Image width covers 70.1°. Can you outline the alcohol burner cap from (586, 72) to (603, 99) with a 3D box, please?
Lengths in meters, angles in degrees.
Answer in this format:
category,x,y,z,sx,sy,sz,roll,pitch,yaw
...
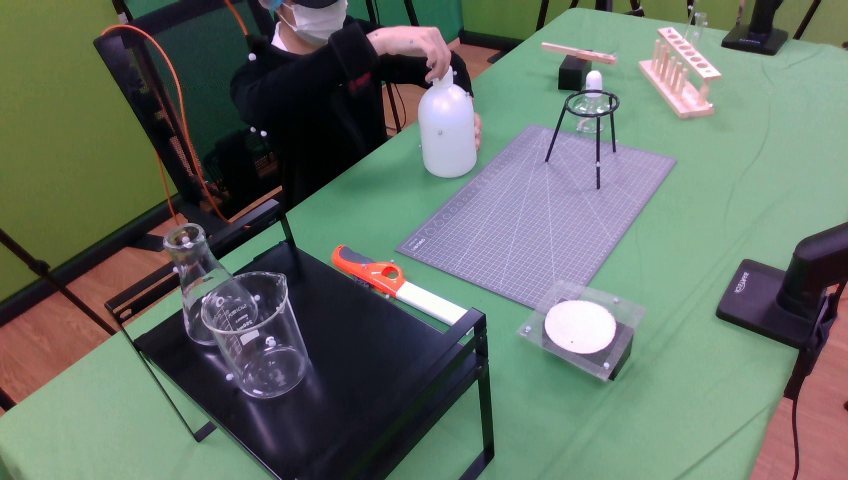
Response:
category,x,y,z,sx,sy,sz,roll,pitch,yaw
alcohol burner cap,0.325,-0.297,1.154,0.034,0.048,0.033,-8,35,6

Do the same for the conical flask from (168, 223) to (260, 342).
category,x,y,z,sx,sy,sz,roll,pitch,yaw
conical flask,-0.219,0.040,0.614,0.075,0.122,0.075,-5,40,4

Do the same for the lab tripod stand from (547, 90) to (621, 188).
category,x,y,z,sx,sy,sz,roll,pitch,yaw
lab tripod stand,0.289,-0.184,1.062,0.148,0.132,0.147,-6,41,6

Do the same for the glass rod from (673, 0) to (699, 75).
category,x,y,z,sx,sy,sz,roll,pitch,yaw
glass rod,0.541,-0.427,1.246,0.008,0.200,0.008,0,48,1

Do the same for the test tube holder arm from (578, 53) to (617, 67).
category,x,y,z,sx,sy,sz,roll,pitch,yaw
test tube holder arm,0.376,-0.393,1.314,0.087,0.015,0.010,26,51,32

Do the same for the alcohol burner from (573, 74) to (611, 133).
category,x,y,z,sx,sy,sz,roll,pitch,yaw
alcohol burner,0.330,-0.270,1.176,0.078,0.119,0.077,-4,43,4

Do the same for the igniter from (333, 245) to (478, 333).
category,x,y,z,sx,sy,sz,roll,pitch,yaw
igniter,-0.038,0.068,0.905,0.274,0.025,0.057,24,60,32

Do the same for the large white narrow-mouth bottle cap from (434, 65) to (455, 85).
category,x,y,z,sx,sy,sz,roll,pitch,yaw
large white narrow-mouth bottle cap,0.035,-0.284,1.041,0.038,0.024,0.037,-4,40,4

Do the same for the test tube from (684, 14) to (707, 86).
category,x,y,z,sx,sy,sz,roll,pitch,yaw
test tube,0.541,-0.379,1.216,0.017,0.151,0.017,-2,44,2

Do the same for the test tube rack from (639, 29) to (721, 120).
category,x,y,z,sx,sy,sz,roll,pitch,yaw
test tube rack,0.527,-0.351,1.262,0.067,0.085,0.241,-8,40,1

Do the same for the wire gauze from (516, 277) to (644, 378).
category,x,y,z,sx,sy,sz,roll,pitch,yaw
wire gauze,0.197,0.103,0.765,0.124,0.011,0.122,23,50,32

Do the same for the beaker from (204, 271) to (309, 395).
category,x,y,z,sx,sy,sz,roll,pitch,yaw
beaker,-0.149,0.088,0.565,0.073,0.101,0.084,21,47,29

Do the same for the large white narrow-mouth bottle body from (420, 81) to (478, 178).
category,x,y,z,sx,sy,sz,roll,pitch,yaw
large white narrow-mouth bottle body,0.043,-0.217,1.098,0.102,0.195,0.101,-4,40,4

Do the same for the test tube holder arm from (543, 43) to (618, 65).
category,x,y,z,sx,sy,sz,roll,pitch,yaw
test tube holder arm,0.345,-0.413,1.341,0.177,0.015,0.013,25,50,31
